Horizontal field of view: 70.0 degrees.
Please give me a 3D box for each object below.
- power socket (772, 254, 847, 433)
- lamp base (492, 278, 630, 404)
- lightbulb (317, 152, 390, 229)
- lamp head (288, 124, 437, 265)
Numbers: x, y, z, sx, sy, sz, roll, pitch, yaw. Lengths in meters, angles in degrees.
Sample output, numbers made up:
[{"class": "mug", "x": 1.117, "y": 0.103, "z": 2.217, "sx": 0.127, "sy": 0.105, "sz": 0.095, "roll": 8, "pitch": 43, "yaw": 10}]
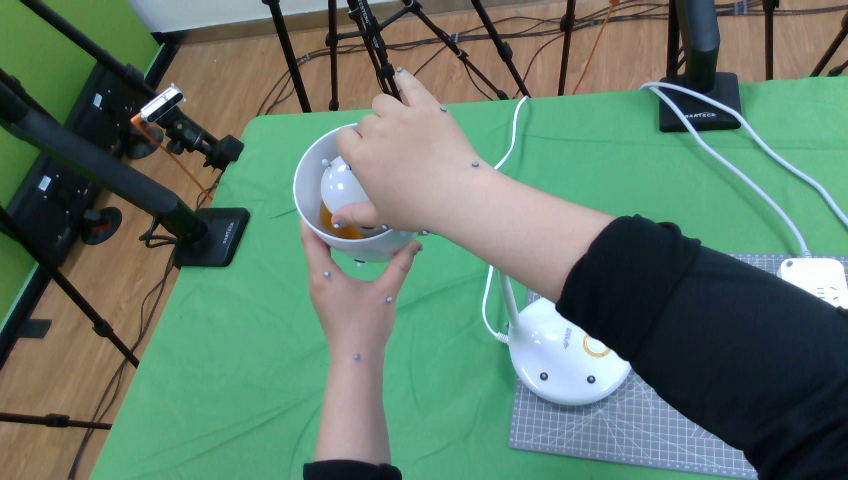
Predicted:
[{"class": "power socket", "x": 0.470, "y": 0.114, "z": 0.725, "sx": 0.072, "sy": 0.033, "sz": 0.225, "roll": 0, "pitch": 57, "yaw": 18}, {"class": "lamp base", "x": 0.156, "y": 0.099, "z": 0.747, "sx": 0.178, "sy": 0.182, "sz": 0.159, "roll": -6, "pitch": 56, "yaw": 18}, {"class": "lightbulb", "x": -0.054, "y": -0.035, "z": 0.521, "sx": 0.059, "sy": 0.108, "sz": 0.059, "roll": -2, "pitch": 73, "yaw": 8}, {"class": "lamp head", "x": -0.047, "y": -0.027, "z": 0.546, "sx": 0.112, "sy": 0.124, "sz": 0.111, "roll": -4, "pitch": 66, "yaw": 11}]
